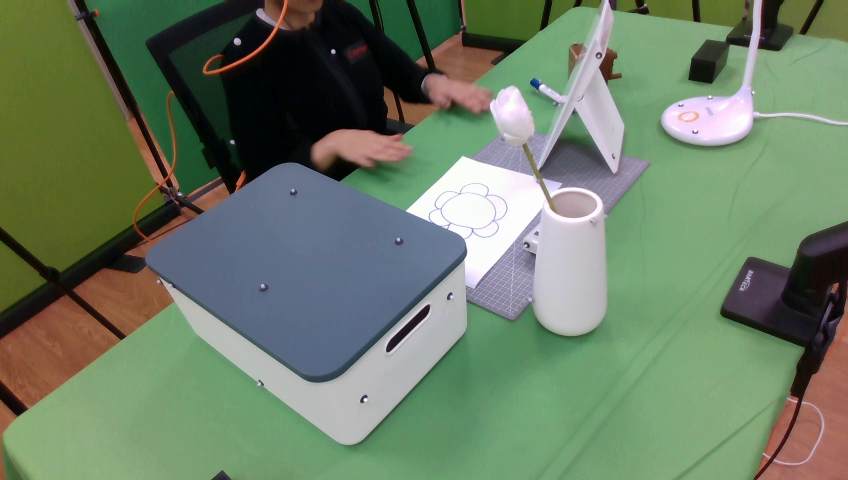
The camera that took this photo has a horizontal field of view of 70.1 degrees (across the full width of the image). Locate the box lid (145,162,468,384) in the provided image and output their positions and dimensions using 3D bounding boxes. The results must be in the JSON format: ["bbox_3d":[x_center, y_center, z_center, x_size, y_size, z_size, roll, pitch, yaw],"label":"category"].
[{"bbox_3d":[-0.157,0.014,0.769,0.368,0.015,0.264,25,51,33],"label":"box lid"}]

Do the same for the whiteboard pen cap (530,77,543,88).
[{"bbox_3d":[0.248,-0.344,1.327,0.018,0.018,0.033,-23,46,-16],"label":"whiteboard pen cap"}]

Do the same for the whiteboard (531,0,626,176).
[{"bbox_3d":[0.320,-0.258,1.050,0.144,0.306,0.217,22,45,5],"label":"whiteboard"}]

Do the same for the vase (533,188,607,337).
[{"bbox_3d":[0.187,0.033,0.771,0.098,0.201,0.097,-6,41,6],"label":"vase"}]

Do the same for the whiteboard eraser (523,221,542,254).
[{"bbox_3d":[0.207,-0.013,0.938,0.055,0.042,0.113,28,52,33],"label":"whiteboard eraser"}]

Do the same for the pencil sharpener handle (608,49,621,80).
[{"bbox_3d":[0.394,-0.367,1.253,0.030,0.068,0.036,-8,33,1],"label":"pencil sharpener handle"}]

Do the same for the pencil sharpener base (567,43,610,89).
[{"bbox_3d":[0.345,-0.352,1.263,0.077,0.107,0.061,-8,40,1],"label":"pencil sharpener base"}]

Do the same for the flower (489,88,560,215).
[{"bbox_3d":[0.158,-0.027,0.720,0.038,0.364,0.044,-14,44,23],"label":"flower"}]

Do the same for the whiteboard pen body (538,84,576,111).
[{"bbox_3d":[0.278,-0.309,1.289,0.017,0.017,0.139,-25,46,-18],"label":"whiteboard pen body"}]

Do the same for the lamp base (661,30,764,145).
[{"bbox_3d":[0.535,-0.287,1.096,0.179,0.181,0.159,-10,40,-4],"label":"lamp base"}]

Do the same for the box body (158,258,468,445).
[{"bbox_3d":[-0.147,0.072,0.816,0.361,0.161,0.255,24,50,33],"label":"box body"}]
